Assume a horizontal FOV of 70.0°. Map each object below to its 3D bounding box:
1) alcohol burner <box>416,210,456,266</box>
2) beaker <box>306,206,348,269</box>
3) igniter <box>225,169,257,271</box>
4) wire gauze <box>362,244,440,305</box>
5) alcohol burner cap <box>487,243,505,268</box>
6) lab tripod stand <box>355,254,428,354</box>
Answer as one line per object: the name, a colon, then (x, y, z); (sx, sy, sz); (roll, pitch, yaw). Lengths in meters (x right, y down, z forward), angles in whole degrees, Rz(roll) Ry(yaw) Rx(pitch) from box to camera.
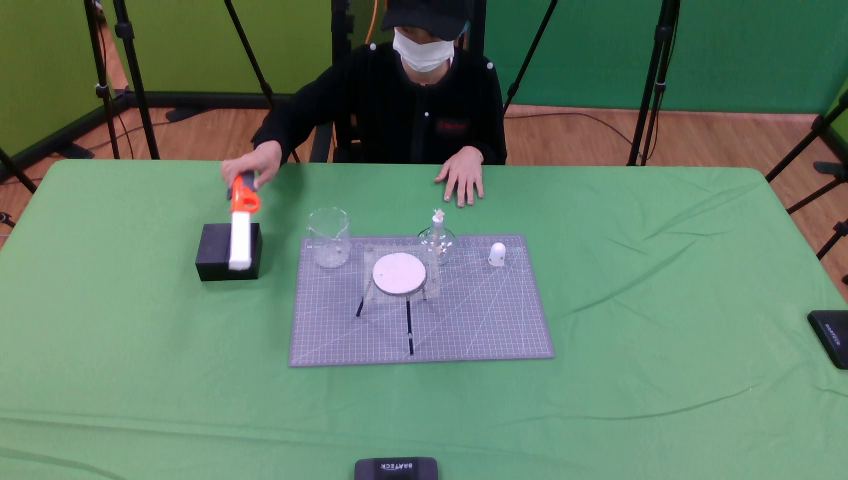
alcohol burner: (0.023, -0.009, 1.141); (0.078, 0.120, 0.077); (2, 44, -2)
beaker: (-0.177, 0.001, 1.126); (0.074, 0.101, 0.083); (-13, 49, -16)
igniter: (-0.325, -0.045, 1.073); (0.057, 0.025, 0.274); (4, 39, -18)
wire gauze: (-0.038, 0.051, 0.971); (0.121, 0.011, 0.124); (-1, 46, -4)
alcohol burner cap: (0.141, 0.027, 1.166); (0.034, 0.048, 0.033); (2, 45, -2)
lab tripod stand: (-0.046, 0.100, 1.017); (0.148, 0.132, 0.147); (1, 47, -1)
